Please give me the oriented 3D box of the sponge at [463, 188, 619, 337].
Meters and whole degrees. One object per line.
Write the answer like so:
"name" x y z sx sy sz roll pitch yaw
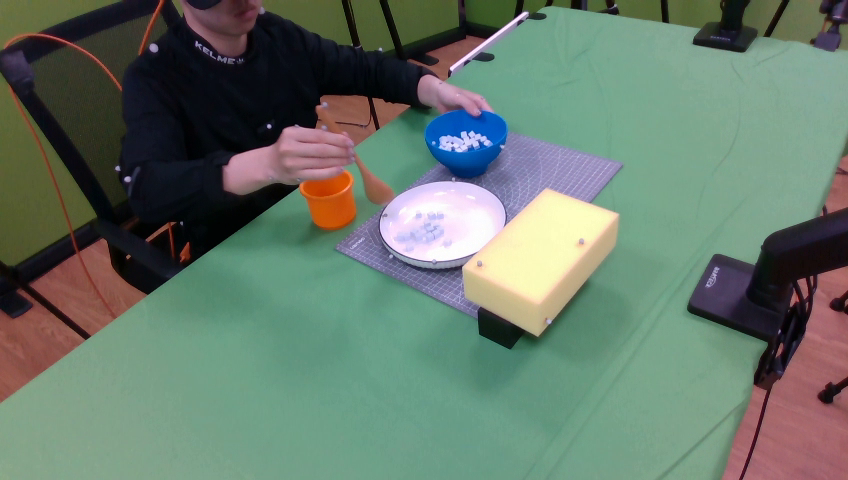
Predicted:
"sponge" 0.160 0.022 0.814 0.117 0.061 0.207 24 50 32

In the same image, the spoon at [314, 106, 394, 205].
"spoon" -0.101 -0.116 0.864 0.041 0.195 0.021 -21 38 18

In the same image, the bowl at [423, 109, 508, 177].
"bowl" 0.078 -0.166 1.094 0.151 0.077 0.150 -4 40 4

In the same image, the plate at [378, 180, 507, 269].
"plate" 0.031 -0.022 0.974 0.209 0.038 0.208 -4 40 4
